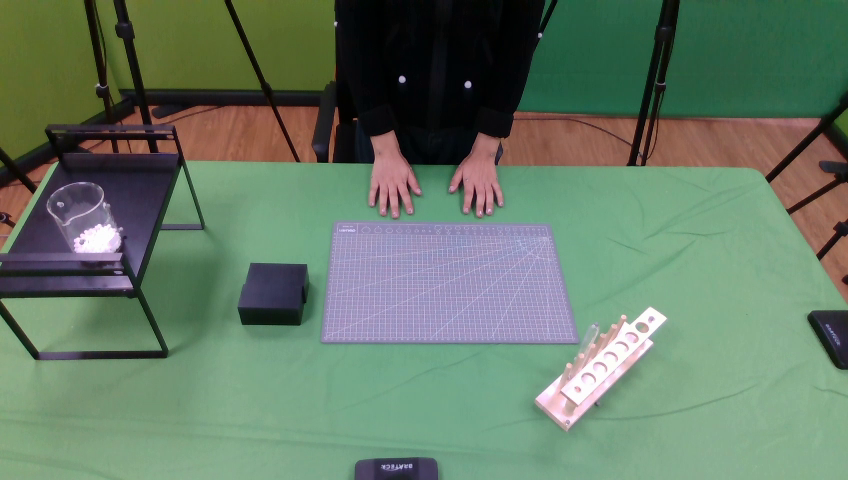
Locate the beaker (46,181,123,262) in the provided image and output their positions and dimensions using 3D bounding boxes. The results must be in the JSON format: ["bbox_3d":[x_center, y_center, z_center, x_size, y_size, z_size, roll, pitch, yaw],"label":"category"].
[{"bbox_3d":[-0.487,-0.021,0.877,0.074,0.101,0.083,3,47,0],"label":"beaker"}]

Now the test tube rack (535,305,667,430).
[{"bbox_3d":[0.290,0.193,0.984,0.242,0.085,0.066,-32,56,-30],"label":"test tube rack"}]

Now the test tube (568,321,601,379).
[{"bbox_3d":[0.247,0.173,0.938,0.017,0.151,0.017,2,47,-2],"label":"test tube"}]
